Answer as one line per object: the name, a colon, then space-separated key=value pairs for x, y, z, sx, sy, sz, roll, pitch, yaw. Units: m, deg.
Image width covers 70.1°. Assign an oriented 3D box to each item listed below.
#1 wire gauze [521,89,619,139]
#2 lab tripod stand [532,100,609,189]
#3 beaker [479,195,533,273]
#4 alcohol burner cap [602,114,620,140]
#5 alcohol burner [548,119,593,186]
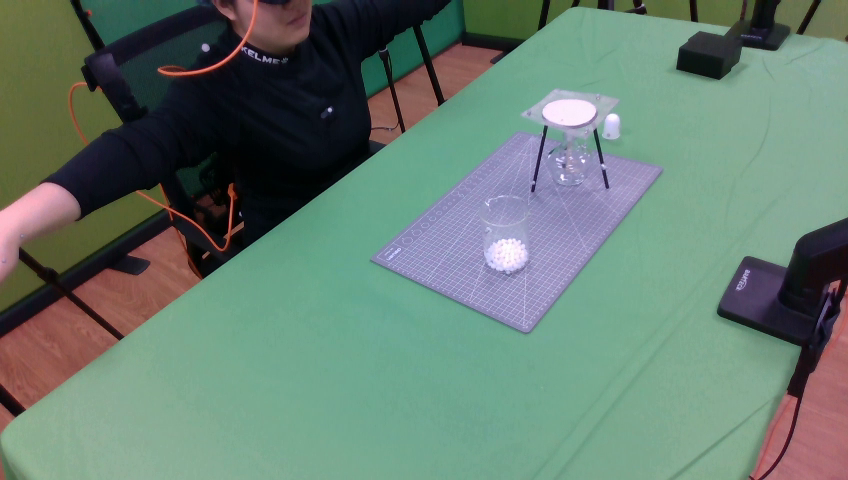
wire gauze: x=0.239 y=-0.213 z=0.994 sx=0.124 sy=0.011 sz=0.122 roll=24 pitch=49 yaw=32
lab tripod stand: x=0.251 y=-0.161 z=1.034 sx=0.148 sy=0.132 sz=0.147 roll=-4 pitch=39 yaw=4
beaker: x=0.122 y=-0.007 z=0.904 sx=0.074 sy=0.101 sz=0.083 roll=-30 pitch=43 yaw=-23
alcohol burner cap: x=0.359 y=-0.217 z=1.157 sx=0.034 sy=0.048 sz=0.033 roll=-7 pitch=40 yaw=6
alcohol burner: x=0.252 y=-0.154 z=1.042 sx=0.078 sy=0.120 sz=0.077 roll=-7 pitch=40 yaw=6
